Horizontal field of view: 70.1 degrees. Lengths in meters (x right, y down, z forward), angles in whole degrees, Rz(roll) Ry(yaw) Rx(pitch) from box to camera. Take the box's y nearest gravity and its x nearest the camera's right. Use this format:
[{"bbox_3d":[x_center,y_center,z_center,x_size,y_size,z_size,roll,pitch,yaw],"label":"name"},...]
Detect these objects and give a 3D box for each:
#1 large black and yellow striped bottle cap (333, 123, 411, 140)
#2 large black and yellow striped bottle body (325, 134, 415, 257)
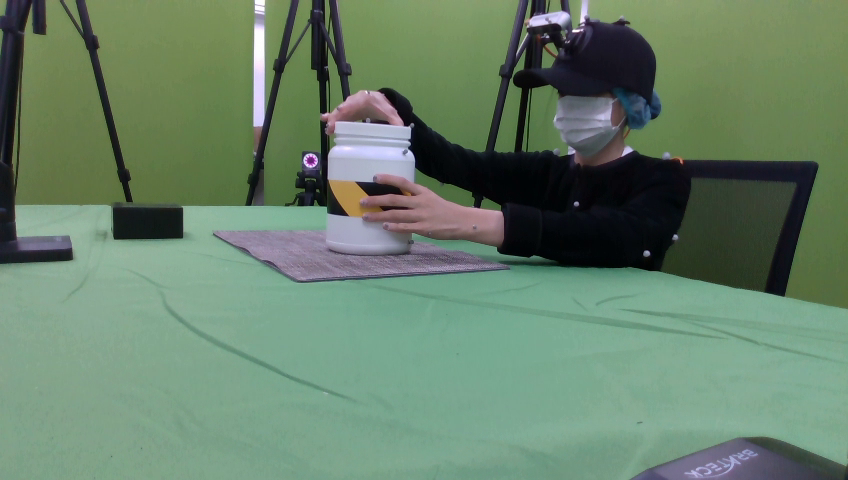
[{"bbox_3d":[-0.076,-0.160,0.893,0.115,0.019,0.115,4,8,0],"label":"large black and yellow striped bottle cap"},{"bbox_3d":[-0.081,-0.073,0.904,0.131,0.184,0.130,3,7,0],"label":"large black and yellow striped bottle body"}]
